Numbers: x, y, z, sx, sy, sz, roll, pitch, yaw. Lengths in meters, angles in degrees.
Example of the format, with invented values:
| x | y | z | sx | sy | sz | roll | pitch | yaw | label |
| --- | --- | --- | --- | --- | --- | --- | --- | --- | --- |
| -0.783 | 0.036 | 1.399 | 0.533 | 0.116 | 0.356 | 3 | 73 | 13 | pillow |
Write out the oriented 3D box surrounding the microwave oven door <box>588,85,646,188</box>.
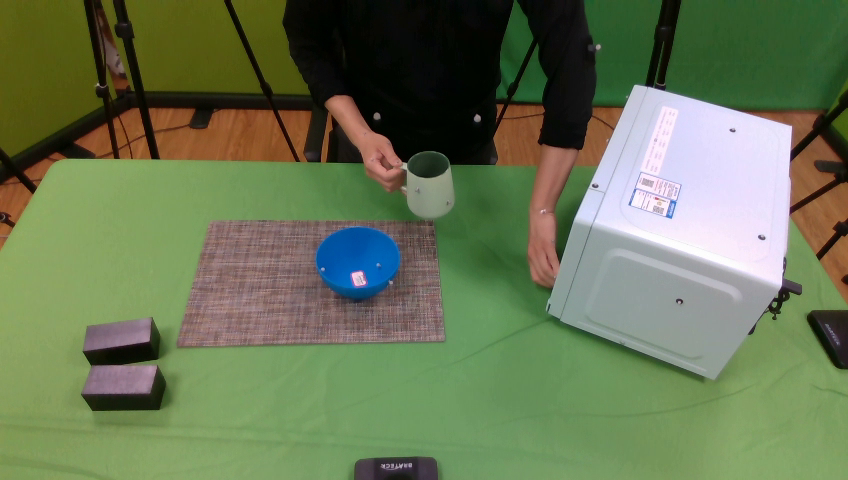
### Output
| x | y | z | sx | sy | sz | roll | pitch | yaw | label |
| --- | --- | --- | --- | --- | --- | --- | --- | --- | --- |
| 0.341 | -0.107 | 1.149 | 0.039 | 0.245 | 0.354 | 21 | 48 | 15 | microwave oven door |

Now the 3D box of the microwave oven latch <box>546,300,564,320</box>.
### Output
| x | y | z | sx | sy | sz | roll | pitch | yaw | label |
| --- | --- | --- | --- | --- | --- | --- | --- | --- | --- |
| 0.246 | 0.106 | 1.077 | 0.030 | 0.029 | 0.079 | 31 | 51 | 25 | microwave oven latch |

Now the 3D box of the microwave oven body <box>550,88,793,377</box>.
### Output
| x | y | z | sx | sy | sz | roll | pitch | yaw | label |
| --- | --- | --- | --- | --- | --- | --- | --- | --- | --- |
| 0.456 | -0.028 | 1.087 | 0.325 | 0.261 | 0.440 | 20 | 47 | 16 | microwave oven body |

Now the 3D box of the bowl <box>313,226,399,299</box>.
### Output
| x | y | z | sx | sy | sz | roll | pitch | yaw | label |
| --- | --- | --- | --- | --- | --- | --- | --- | --- | --- |
| -0.120 | 0.054 | 1.091 | 0.151 | 0.077 | 0.150 | 2 | 46 | -2 | bowl |

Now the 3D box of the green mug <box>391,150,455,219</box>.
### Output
| x | y | z | sx | sy | sz | roll | pitch | yaw | label |
| --- | --- | --- | --- | --- | --- | --- | --- | --- | --- |
| -0.005 | -0.106 | 1.133 | 0.125 | 0.105 | 0.092 | 17 | 51 | 20 | green mug |
